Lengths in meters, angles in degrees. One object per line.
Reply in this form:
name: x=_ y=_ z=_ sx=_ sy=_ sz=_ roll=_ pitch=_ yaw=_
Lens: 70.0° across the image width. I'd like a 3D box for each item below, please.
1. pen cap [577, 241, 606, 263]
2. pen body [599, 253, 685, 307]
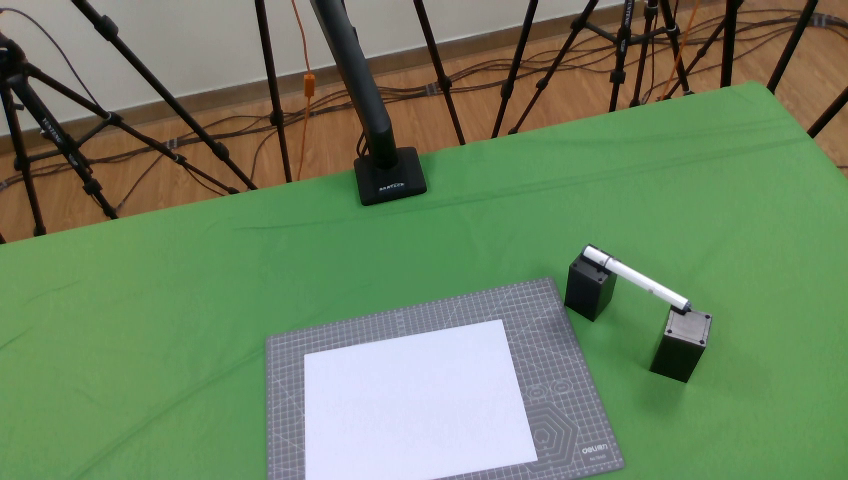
pen cap: x=0.228 y=0.016 z=0.826 sx=0.038 sy=0.017 sz=0.017 roll=32 pitch=63 yaw=28
pen body: x=0.274 y=0.045 z=0.799 sx=0.143 sy=0.017 sz=0.017 roll=33 pitch=63 yaw=27
